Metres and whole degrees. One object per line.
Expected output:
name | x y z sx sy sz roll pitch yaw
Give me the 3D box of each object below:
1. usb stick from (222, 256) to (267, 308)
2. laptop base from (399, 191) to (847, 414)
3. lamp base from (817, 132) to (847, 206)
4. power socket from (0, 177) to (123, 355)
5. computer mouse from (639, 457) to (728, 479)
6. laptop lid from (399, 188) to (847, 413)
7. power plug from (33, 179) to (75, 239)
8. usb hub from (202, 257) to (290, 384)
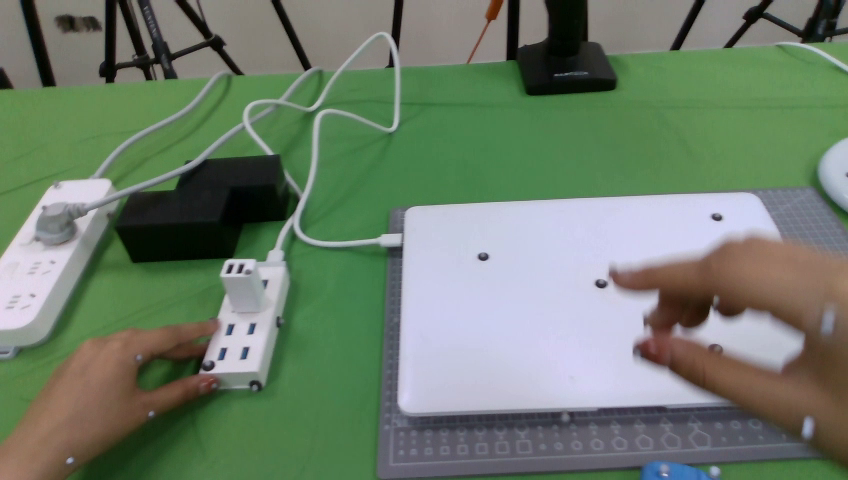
usb stick | -0.151 0.041 0.518 0.027 0.060 0.021 -4 43 2
laptop base | 0.156 0.045 0.539 0.354 0.023 0.233 -2 47 1
lamp base | 0.495 -0.126 0.577 0.159 0.182 0.178 20 46 23
power socket | -0.369 0.012 0.598 0.072 0.033 0.224 -1 44 1
computer mouse | 0.162 0.189 0.378 0.062 0.041 0.116 14 43 20
laptop lid | 0.155 0.038 0.529 0.357 0.013 0.239 -1 46 3
power plug | -0.367 -0.026 0.606 0.035 0.053 0.072 -7 36 -17
usb hub | -0.153 0.067 0.533 0.049 0.025 0.124 -3 44 3
